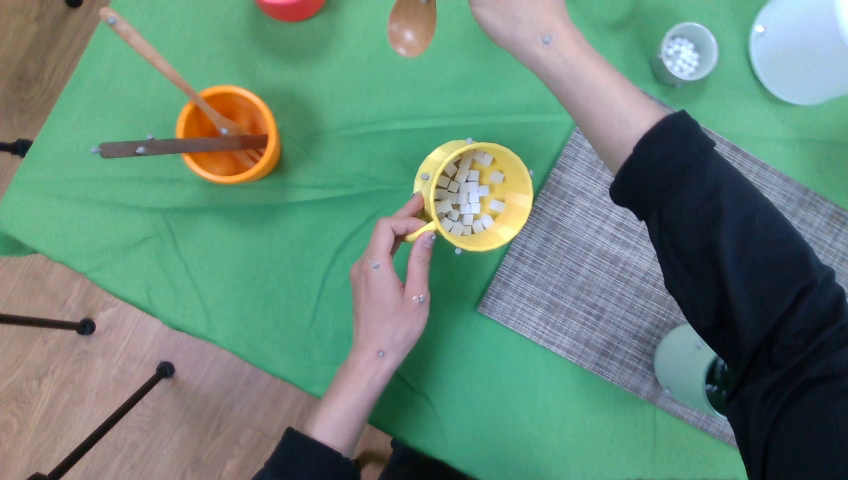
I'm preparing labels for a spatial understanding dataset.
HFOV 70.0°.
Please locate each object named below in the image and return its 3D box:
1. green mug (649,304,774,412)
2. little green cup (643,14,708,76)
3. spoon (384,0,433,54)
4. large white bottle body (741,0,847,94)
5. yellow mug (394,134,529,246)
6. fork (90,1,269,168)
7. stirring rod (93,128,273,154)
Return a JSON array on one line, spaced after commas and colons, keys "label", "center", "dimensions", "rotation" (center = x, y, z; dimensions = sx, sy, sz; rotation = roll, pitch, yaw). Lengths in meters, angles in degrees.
[{"label": "green mug", "center": [0.309, 0.115, 0.636], "dimensions": [0.092, 0.105, 0.125], "rotation": [45, 88, -4]}, {"label": "little green cup", "center": [0.271, -0.209, 0.659], "dimensions": [0.061, 0.038, 0.061], "rotation": [0, 92, -4]}, {"label": "spoon", "center": [0.008, -0.214, 0.437], "dimensions": [0.041, 0.194, 0.021], "rotation": [35, 56, 3]}, {"label": "large white bottle body", "center": [0.424, -0.228, 0.598], "dimensions": [0.131, 0.184, 0.130], "rotation": [0, 91, -4]}, {"label": "yellow mug", "center": [0.028, -0.040, 0.574], "dimensions": [0.131, 0.063, 0.100], "rotation": [-33, 107, -5]}, {"label": "fork", "center": [-0.220, -0.137, 0.564], "dimensions": [0.028, 0.018, 0.210], "rotation": [-46, 137, -4]}, {"label": "stirring rod", "center": [-0.218, -0.095, 0.572], "dimensions": [0.177, 0.006, 0.014], "rotation": [-15, 95, -46]}]
